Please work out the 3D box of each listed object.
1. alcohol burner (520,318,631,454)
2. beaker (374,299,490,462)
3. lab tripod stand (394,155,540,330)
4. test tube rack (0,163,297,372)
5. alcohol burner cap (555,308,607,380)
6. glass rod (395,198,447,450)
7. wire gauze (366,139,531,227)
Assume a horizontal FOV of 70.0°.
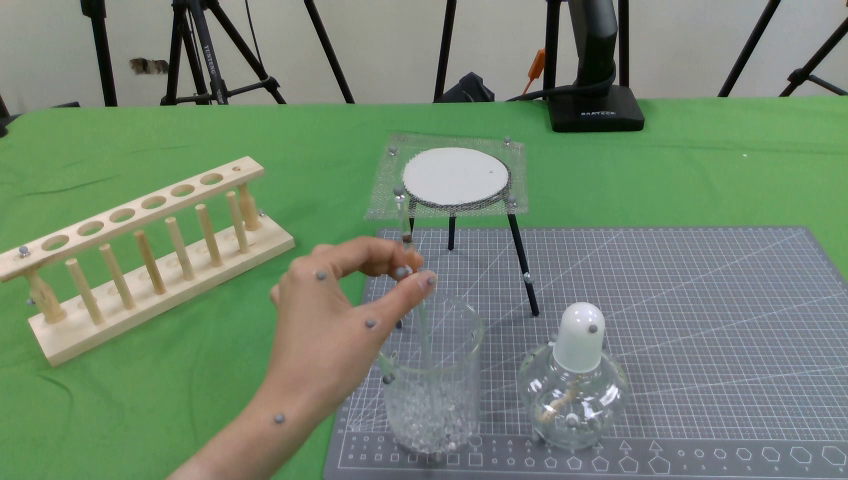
[{"bbox_3d":[0.106,0.094,0.421,0.078,0.120,0.077,-2,40,2],"label":"alcohol burner"},{"bbox_3d":[0.005,0.101,0.432,0.074,0.101,0.083,-30,44,-31],"label":"beaker"},{"bbox_3d":[0.035,0.004,0.529,0.148,0.132,0.147,-1,37,1],"label":"lab tripod stand"},{"bbox_3d":[-0.250,0.017,0.578,0.242,0.086,0.066,-29,44,-30],"label":"test tube rack"},{"bbox_3d":[0.105,0.066,0.399,0.034,0.048,0.033,0,39,0],"label":"alcohol burner cap"},{"bbox_3d":[0.000,0.064,0.393,0.008,0.201,0.008,-7,28,4],"label":"glass rod"},{"bbox_3d":[0.023,-0.048,0.487,0.121,0.011,0.124,2,38,6],"label":"wire gauze"}]
